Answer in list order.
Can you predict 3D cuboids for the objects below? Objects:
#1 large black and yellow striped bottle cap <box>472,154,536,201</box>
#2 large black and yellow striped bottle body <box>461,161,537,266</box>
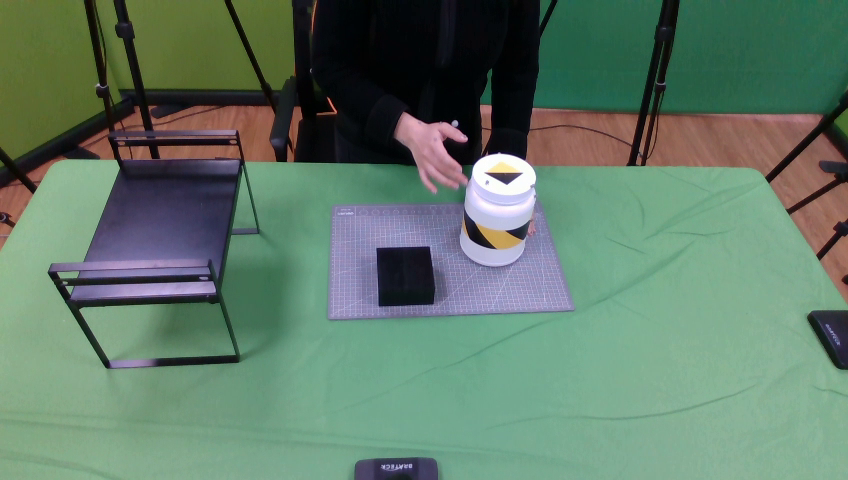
[{"bbox_3d":[0.143,-0.113,1.081,0.115,0.019,0.114,3,45,-2],"label":"large black and yellow striped bottle cap"},{"bbox_3d":[0.140,-0.055,1.143,0.131,0.185,0.130,2,46,-2],"label":"large black and yellow striped bottle body"}]
